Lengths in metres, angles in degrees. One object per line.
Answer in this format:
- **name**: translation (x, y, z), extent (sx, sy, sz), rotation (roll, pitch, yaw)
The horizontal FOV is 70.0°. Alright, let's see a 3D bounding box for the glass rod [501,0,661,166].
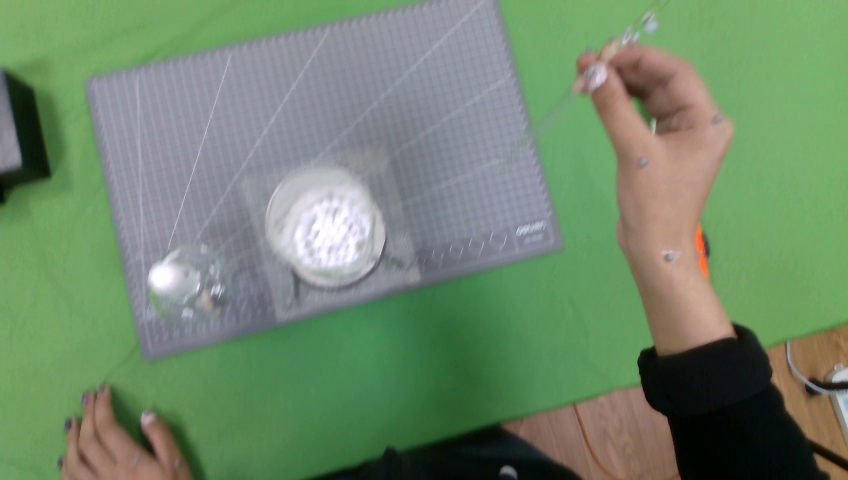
- **glass rod**: translation (0.098, -0.099, 0.402), extent (0.008, 0.200, 0.008), rotation (9, 64, -18)

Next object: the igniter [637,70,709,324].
- **igniter**: translation (0.269, -0.048, 0.655), extent (0.057, 0.025, 0.276), rotation (-6, 85, -15)

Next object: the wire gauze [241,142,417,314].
- **wire gauze**: translation (-0.080, -0.011, 0.508), extent (0.125, 0.011, 0.121), rotation (-16, 83, -3)

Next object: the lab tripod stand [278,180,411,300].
- **lab tripod stand**: translation (-0.083, -0.001, 0.573), extent (0.148, 0.132, 0.148), rotation (0, 83, -1)

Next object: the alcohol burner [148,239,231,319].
- **alcohol burner**: translation (-0.226, 0.035, 0.571), extent (0.078, 0.119, 0.077), rotation (1, 81, -3)

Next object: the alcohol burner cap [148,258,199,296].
- **alcohol burner cap**: translation (-0.224, 0.032, 0.535), extent (0.034, 0.048, 0.033), rotation (0, 80, 0)

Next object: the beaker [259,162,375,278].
- **beaker**: translation (-0.072, -0.008, 0.460), extent (0.084, 0.100, 0.074), rotation (42, 83, 3)
